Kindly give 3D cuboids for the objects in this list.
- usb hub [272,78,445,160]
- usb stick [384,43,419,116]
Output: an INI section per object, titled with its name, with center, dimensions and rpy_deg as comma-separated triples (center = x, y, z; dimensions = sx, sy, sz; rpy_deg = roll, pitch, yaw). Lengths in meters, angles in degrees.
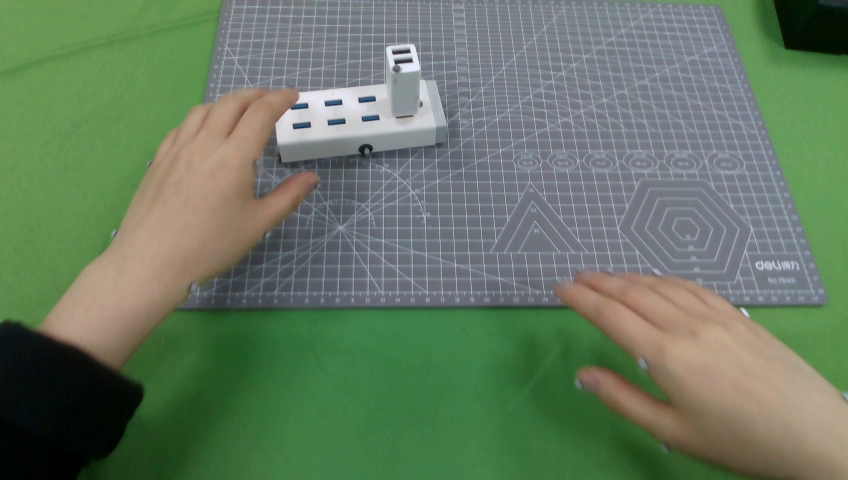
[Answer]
[usb hub]
center = -0.050, -0.093, 0.458
dimensions = 0.125, 0.025, 0.049
rpy_deg = -8, 62, -8
[usb stick]
center = -0.016, -0.110, 0.433
dimensions = 0.021, 0.059, 0.027
rpy_deg = -10, 60, -8
